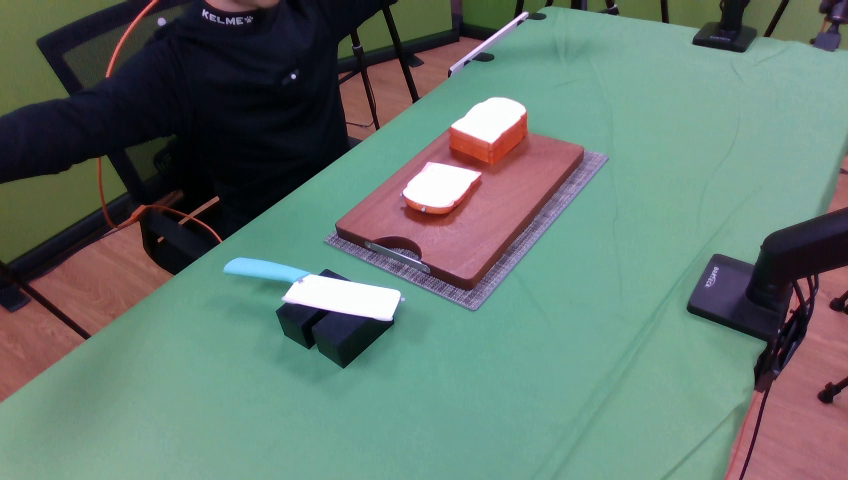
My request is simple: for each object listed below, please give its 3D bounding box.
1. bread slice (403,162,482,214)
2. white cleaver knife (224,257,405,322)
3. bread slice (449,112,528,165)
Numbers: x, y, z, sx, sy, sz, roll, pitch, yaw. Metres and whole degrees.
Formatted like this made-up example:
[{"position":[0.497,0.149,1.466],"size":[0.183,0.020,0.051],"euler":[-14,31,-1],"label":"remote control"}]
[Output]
[{"position":[0.024,-0.088,1.021],"size":[0.104,0.019,0.132],"euler":[16,40,22],"label":"bread slice"},{"position":[-0.165,0.066,0.851],"size":[0.285,0.021,0.066],"euler":[9,43,21],"label":"white cleaver knife"},{"position":[0.130,-0.197,1.133],"size":[0.135,0.018,0.106],"euler":[-37,51,-26],"label":"bread slice"}]
